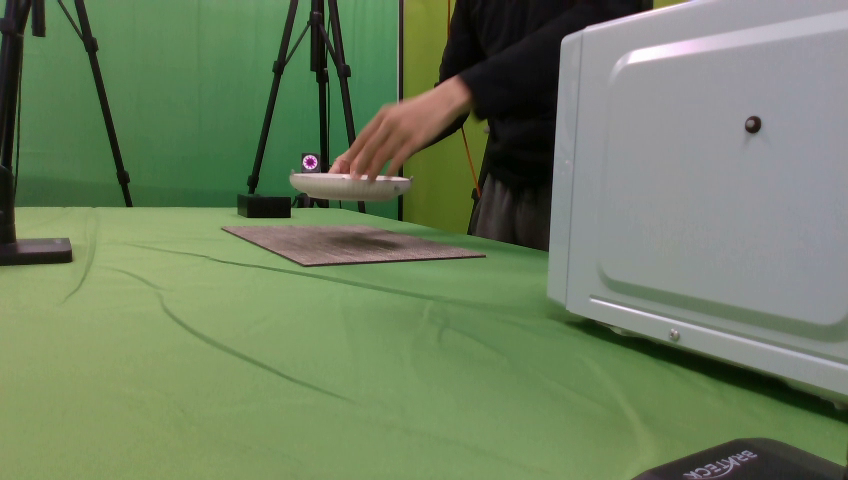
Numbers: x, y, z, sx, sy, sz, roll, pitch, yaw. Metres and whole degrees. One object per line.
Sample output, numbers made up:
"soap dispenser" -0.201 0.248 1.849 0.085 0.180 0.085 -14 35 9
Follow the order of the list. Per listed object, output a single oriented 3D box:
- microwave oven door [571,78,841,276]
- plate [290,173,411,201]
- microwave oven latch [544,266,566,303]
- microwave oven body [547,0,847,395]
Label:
"microwave oven door" 0.375 -0.093 0.866 0.039 0.243 0.354 -4 9 -41
"plate" -0.127 -0.093 1.050 0.209 0.038 0.209 2 9 0
"microwave oven latch" 0.147 0.039 0.555 0.079 0.029 0.030 -1 7 -28
"microwave oven body" 0.378 -0.046 0.510 0.444 0.260 0.324 -2 7 -31
